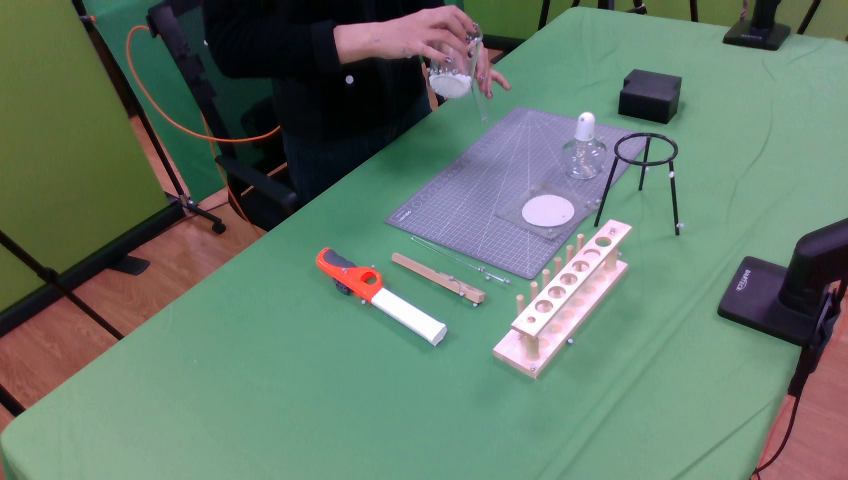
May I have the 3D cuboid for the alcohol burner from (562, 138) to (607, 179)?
[{"bbox_3d":[0.280,-0.167,1.052,0.078,0.119,0.077,-5,38,4],"label":"alcohol burner"}]

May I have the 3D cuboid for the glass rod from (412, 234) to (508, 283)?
[{"bbox_3d":[0.051,0.028,0.951,0.198,0.008,0.008,25,52,37],"label":"glass rod"}]

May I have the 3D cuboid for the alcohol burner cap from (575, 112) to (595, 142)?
[{"bbox_3d":[0.276,-0.194,1.028,0.034,0.048,0.033,-2,44,3],"label":"alcohol burner cap"}]

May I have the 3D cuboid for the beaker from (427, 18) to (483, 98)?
[{"bbox_3d":[0.048,-0.281,0.949,0.073,0.084,0.100,6,72,20],"label":"beaker"}]

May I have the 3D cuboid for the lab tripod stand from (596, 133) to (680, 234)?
[{"bbox_3d":[0.338,-0.091,0.940,0.148,0.132,0.147,-7,39,6],"label":"lab tripod stand"}]

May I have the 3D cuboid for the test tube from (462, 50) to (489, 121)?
[{"bbox_3d":[0.091,-0.266,1.056,0.017,0.151,0.017,-10,50,13],"label":"test tube"}]

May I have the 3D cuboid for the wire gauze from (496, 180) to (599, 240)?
[{"bbox_3d":[0.206,-0.050,1.012,0.125,0.011,0.120,-34,45,-26],"label":"wire gauze"}]

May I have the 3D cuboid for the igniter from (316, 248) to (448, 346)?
[{"bbox_3d":[-0.074,0.078,0.902,0.274,0.025,0.057,29,63,36],"label":"igniter"}]

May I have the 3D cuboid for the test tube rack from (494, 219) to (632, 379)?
[{"bbox_3d":[0.191,0.068,0.818,0.066,0.085,0.243,25,51,35],"label":"test tube rack"}]

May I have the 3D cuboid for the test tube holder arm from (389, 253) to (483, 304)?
[{"bbox_3d":[0.015,0.056,0.916,0.177,0.015,0.013,24,14,32],"label":"test tube holder arm"}]

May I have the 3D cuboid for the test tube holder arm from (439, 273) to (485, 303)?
[{"bbox_3d":[0.053,0.071,0.896,0.087,0.015,0.010,24,14,34],"label":"test tube holder arm"}]
